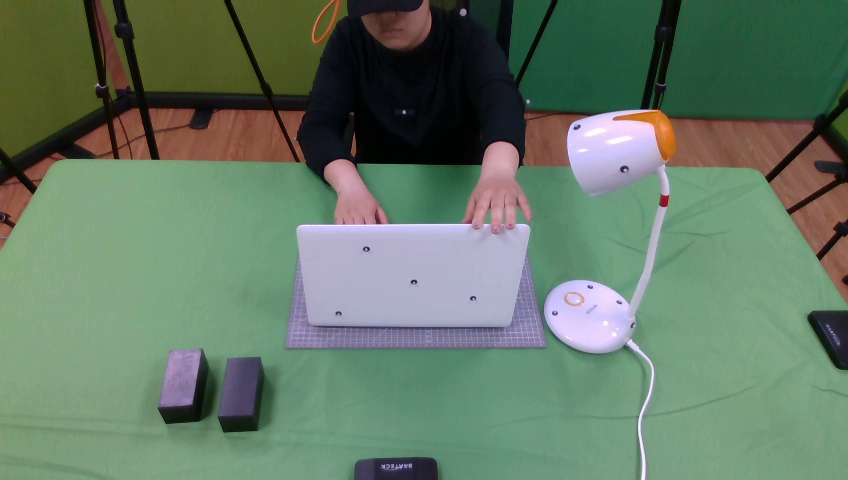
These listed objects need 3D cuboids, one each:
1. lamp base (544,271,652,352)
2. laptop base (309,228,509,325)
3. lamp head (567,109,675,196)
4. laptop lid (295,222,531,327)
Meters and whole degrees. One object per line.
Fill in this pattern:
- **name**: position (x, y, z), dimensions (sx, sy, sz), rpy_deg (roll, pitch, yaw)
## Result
- **lamp base**: position (0.310, 0.086, 1.029), dimensions (0.178, 0.181, 0.160), rpy_deg (32, 52, 21)
- **laptop base**: position (-0.028, 0.066, 1.135), dimensions (0.355, 0.023, 0.234), rpy_deg (1, 43, -4)
- **lamp head**: position (0.272, -0.123, 0.818), dimensions (0.122, 0.113, 0.112), rpy_deg (-9, 35, 37)
- **laptop lid**: position (-0.019, 0.063, 0.970), dimensions (0.357, 0.243, 0.013), rpy_deg (2, 42, -5)
